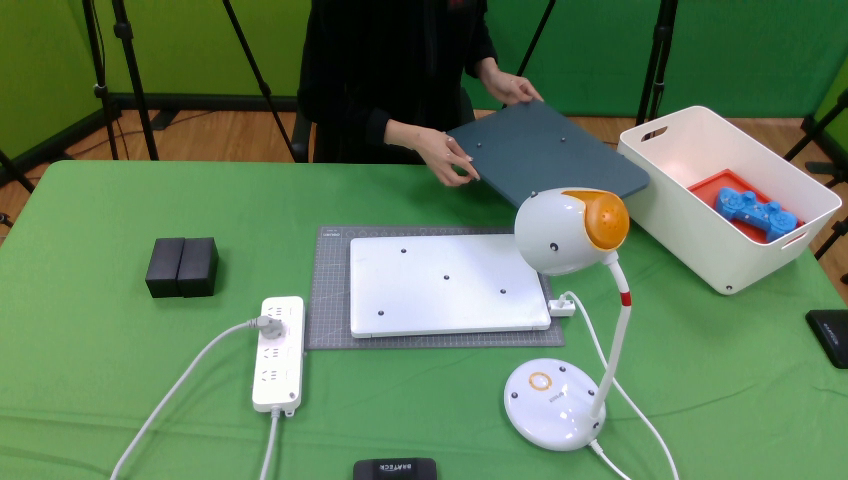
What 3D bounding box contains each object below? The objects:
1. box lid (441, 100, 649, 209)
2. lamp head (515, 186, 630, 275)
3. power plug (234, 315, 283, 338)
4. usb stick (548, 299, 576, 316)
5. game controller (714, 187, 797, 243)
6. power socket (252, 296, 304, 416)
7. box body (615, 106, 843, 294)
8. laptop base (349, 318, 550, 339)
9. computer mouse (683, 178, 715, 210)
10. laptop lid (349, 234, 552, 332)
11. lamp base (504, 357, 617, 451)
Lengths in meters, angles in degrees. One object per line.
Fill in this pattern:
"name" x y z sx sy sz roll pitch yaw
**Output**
"box lid" 0.231 -0.164 1.206 0.263 0.015 0.369 -25 47 -21
"lamp head" 0.188 -0.013 0.728 0.112 0.112 0.122 -25 9 -25
"power plug" -0.269 0.143 1.000 0.072 0.053 0.035 4 47 3
"usb stick" 0.239 0.121 1.084 0.059 0.027 0.021 -1 51 -1
"game controller" 0.646 -0.057 1.183 0.154 0.052 0.097 27 54 20
"power socket" -0.238 0.181 0.997 0.072 0.033 0.225 -3 47 -5
"box body" 0.582 -0.088 1.230 0.254 0.161 0.361 -22 52 -23
"laptop base" 0.039 0.081 1.125 0.355 0.023 0.234 -2 43 -6
"computer mouse" 0.596 -0.078 1.290 0.117 0.041 0.063 56 46 -7
"laptop lid" 0.040 0.071 1.118 0.357 0.013 0.240 0 44 -5
"lamp base" 0.220 0.211 0.903 0.160 0.181 0.178 -32 59 -30
